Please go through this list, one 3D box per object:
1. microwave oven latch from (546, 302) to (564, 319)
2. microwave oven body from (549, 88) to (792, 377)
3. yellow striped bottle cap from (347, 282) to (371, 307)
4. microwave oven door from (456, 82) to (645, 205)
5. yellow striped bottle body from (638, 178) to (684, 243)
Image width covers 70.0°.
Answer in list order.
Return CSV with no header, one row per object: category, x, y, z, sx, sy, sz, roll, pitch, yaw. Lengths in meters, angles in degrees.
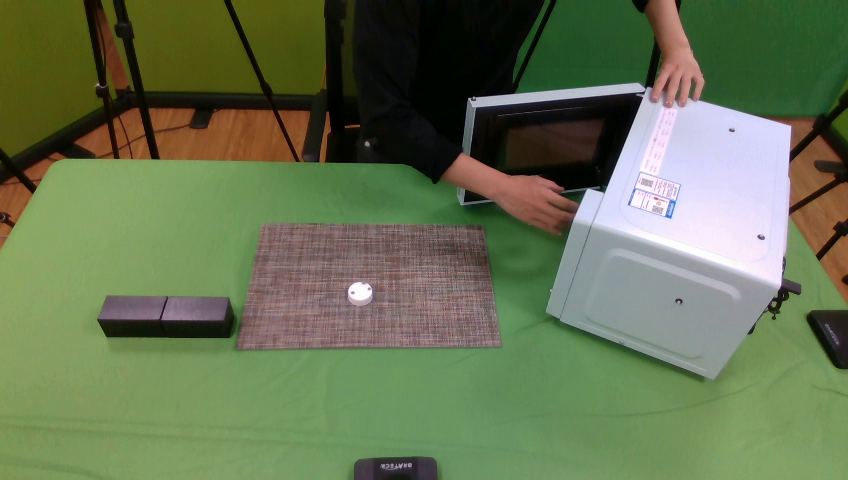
microwave oven latch,0.242,0.102,1.081,0.030,0.029,0.079,22,48,17
microwave oven body,0.455,-0.028,1.088,0.325,0.261,0.440,20,47,16
yellow striped bottle cap,-0.117,0.098,1.093,0.044,0.019,0.044,3,45,-3
microwave oven door,0.249,-0.193,1.225,0.356,0.245,0.039,-8,47,-11
yellow striped bottle body,0.441,-0.058,1.124,0.063,0.121,0.062,-2,43,2
